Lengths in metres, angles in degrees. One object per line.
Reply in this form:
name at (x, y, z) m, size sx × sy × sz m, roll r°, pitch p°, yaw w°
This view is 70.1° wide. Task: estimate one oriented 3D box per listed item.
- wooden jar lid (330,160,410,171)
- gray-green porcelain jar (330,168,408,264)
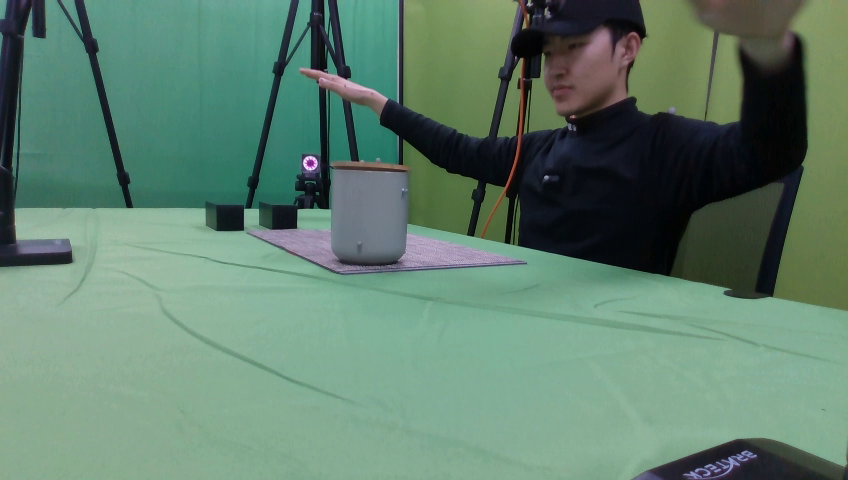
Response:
wooden jar lid at (-0.074, -0.096, 0.825) m, size 0.108 × 0.020 × 0.108 m, roll 3°, pitch 3°, yaw 0°
gray-green porcelain jar at (-0.075, -0.035, 0.833) m, size 0.106 × 0.126 × 0.106 m, roll 2°, pitch 7°, yaw 0°
